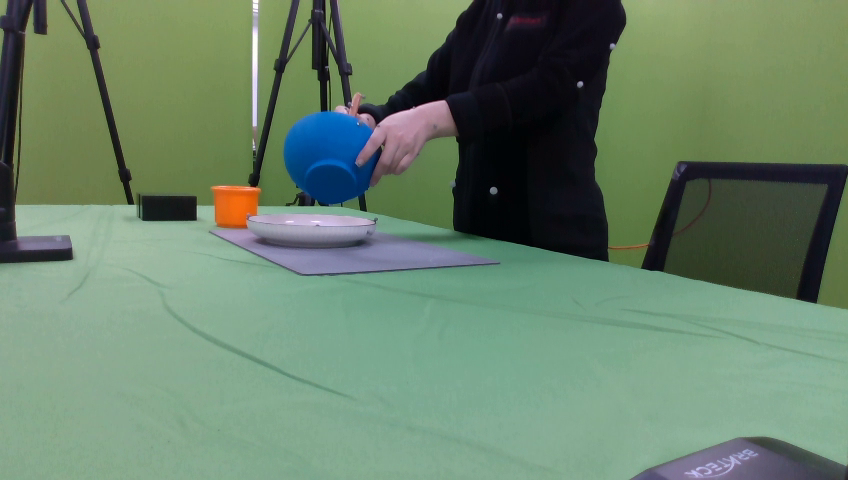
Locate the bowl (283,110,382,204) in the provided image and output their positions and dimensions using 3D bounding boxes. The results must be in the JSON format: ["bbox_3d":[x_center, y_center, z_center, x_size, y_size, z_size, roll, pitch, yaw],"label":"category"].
[{"bbox_3d":[-0.137,-0.106,0.893,0.151,0.151,0.076,2,44,-5],"label":"bowl"}]

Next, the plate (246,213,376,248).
[{"bbox_3d":[-0.185,-0.017,0.994,0.209,0.038,0.209,3,8,0],"label":"plate"}]

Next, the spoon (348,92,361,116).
[{"bbox_3d":[-0.128,-0.162,0.971,0.041,0.193,0.021,10,-31,0],"label":"spoon"}]
